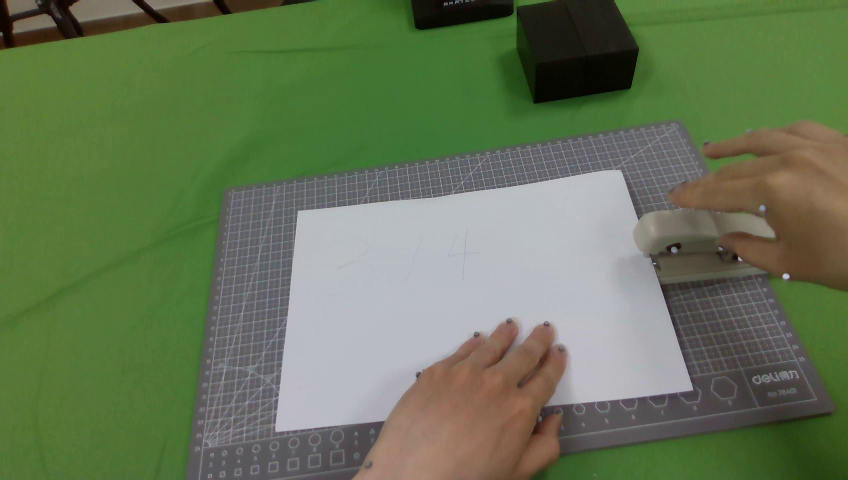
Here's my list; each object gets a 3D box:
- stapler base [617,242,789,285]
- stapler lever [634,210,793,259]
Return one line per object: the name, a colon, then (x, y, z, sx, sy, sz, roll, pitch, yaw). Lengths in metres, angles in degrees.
stapler base: (0.222, 0.009, 0.482, 0.130, 0.024, 0.041, -5, 54, 0)
stapler lever: (0.222, -0.006, 0.463, 0.118, 0.040, 0.026, -6, 54, 2)
